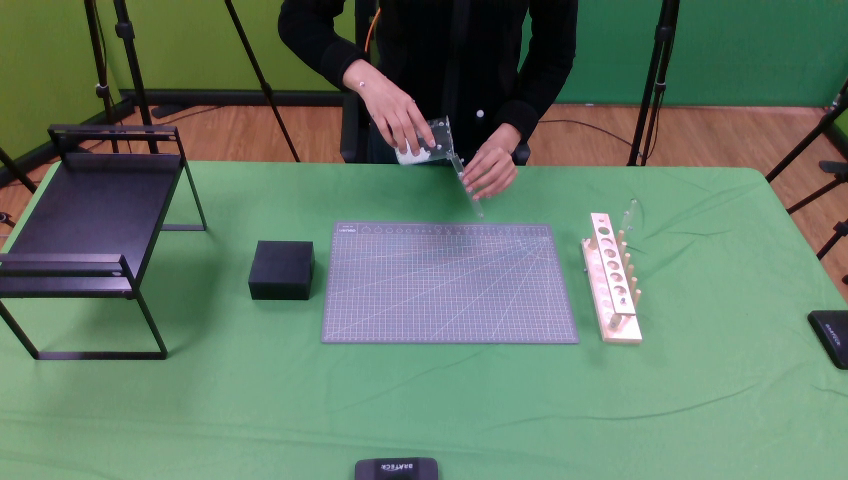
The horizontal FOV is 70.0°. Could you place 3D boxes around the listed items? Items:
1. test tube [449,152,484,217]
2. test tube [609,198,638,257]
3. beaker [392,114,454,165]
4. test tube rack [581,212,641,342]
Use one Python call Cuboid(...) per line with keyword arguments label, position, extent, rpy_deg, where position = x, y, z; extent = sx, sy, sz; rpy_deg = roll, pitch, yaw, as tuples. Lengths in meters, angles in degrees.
Cuboid(label="test tube", position=(0.081, -0.100, 1.126), extent=(0.017, 0.151, 0.017), rpy_deg=(-19, 37, 15))
Cuboid(label="test tube", position=(0.375, -0.021, 1.141), extent=(0.017, 0.151, 0.017), rpy_deg=(2, 45, -2))
Cuboid(label="beaker", position=(-0.001, -0.171, 1.059), extent=(0.100, 0.084, 0.073), rpy_deg=(-9, 49, 5))
Cuboid(label="test tube rack", position=(0.351, 0.063, 1.121), extent=(0.067, 0.085, 0.241), rpy_deg=(3, 46, -1))
